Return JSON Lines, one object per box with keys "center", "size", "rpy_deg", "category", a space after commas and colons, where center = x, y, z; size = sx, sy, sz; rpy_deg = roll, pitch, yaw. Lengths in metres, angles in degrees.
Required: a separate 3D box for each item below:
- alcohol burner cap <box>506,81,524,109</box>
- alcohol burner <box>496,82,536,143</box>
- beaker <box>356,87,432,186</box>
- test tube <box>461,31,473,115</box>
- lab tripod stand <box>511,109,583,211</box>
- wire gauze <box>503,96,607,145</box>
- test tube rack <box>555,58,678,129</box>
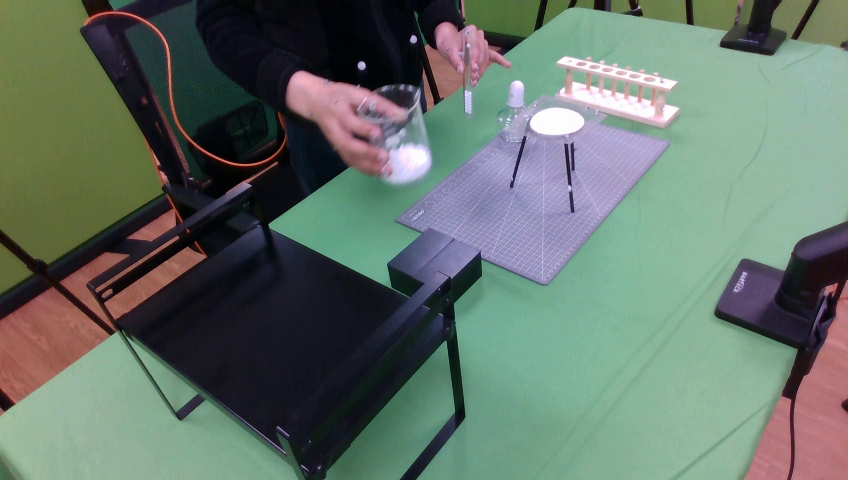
{"center": [0.173, -0.277, 1.145], "size": [0.034, 0.048, 0.033], "rpy_deg": [1, 40, -1], "category": "alcohol burner cap"}
{"center": [0.178, -0.250, 1.168], "size": [0.078, 0.119, 0.077], "rpy_deg": [-5, 42, 5], "category": "alcohol burner"}
{"center": [-0.030, -0.124, 0.733], "size": [0.084, 0.101, 0.073], "rpy_deg": [-34, 47, -20], "category": "beaker"}
{"center": [0.073, -0.277, 1.019], "size": [0.017, 0.151, 0.017], "rpy_deg": [-3, 42, 3], "category": "test tube"}
{"center": [0.220, -0.138, 1.014], "size": [0.148, 0.132, 0.147], "rpy_deg": [-3, 41, 3], "category": "lab tripod stand"}
{"center": [0.211, -0.192, 0.975], "size": [0.120, 0.011, 0.125], "rpy_deg": [24, 49, 32], "category": "wire gauze"}
{"center": [0.390, -0.307, 1.229], "size": [0.240, 0.085, 0.067], "rpy_deg": [26, 51, 33], "category": "test tube rack"}
